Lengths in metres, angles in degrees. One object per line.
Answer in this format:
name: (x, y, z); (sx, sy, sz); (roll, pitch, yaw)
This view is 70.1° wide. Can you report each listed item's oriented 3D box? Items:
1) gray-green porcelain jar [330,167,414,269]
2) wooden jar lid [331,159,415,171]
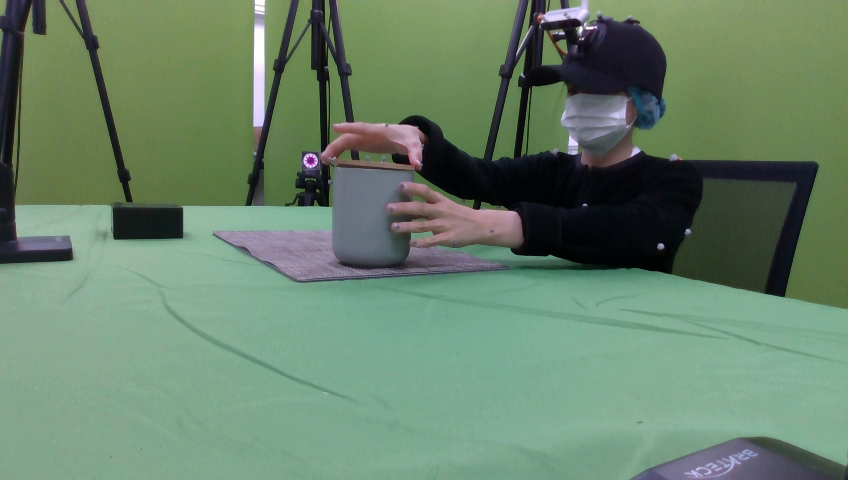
gray-green porcelain jar: (-0.069, -0.030, 0.791); (0.106, 0.126, 0.106); (3, 7, 0)
wooden jar lid: (-0.066, -0.091, 0.783); (0.108, 0.020, 0.108); (5, 8, 0)
